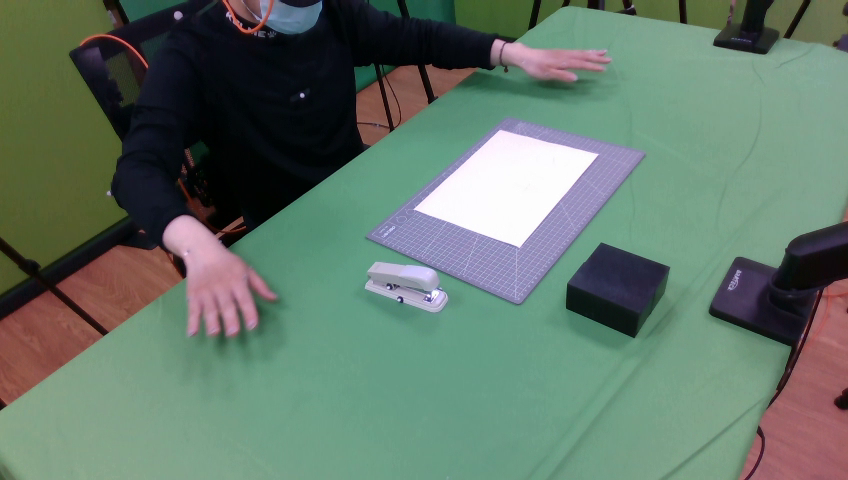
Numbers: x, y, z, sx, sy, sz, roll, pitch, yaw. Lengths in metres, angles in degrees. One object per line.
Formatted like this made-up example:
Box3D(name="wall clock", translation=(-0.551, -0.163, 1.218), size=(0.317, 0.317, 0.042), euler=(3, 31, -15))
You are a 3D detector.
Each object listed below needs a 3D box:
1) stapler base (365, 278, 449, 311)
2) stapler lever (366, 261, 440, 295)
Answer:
Box3D(name="stapler base", translation=(-0.027, 0.069, 0.893), size=(0.129, 0.024, 0.041), euler=(15, 43, 26))
Box3D(name="stapler lever", translation=(-0.031, 0.049, 0.878), size=(0.117, 0.040, 0.027), euler=(15, 43, 26))
